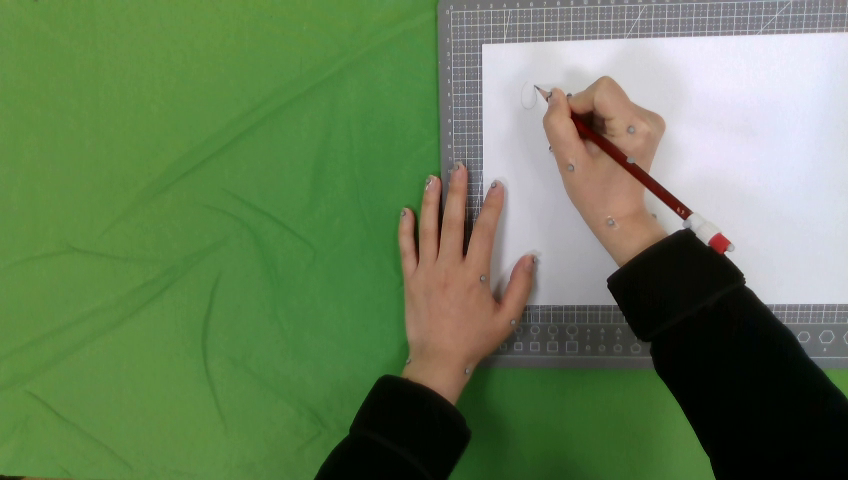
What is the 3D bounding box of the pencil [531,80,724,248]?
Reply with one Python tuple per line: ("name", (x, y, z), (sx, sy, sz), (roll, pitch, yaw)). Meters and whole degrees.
("pencil", (0.128, -0.060, 0.412), (0.012, 0.012, 0.192), (-44, 53, 12))
